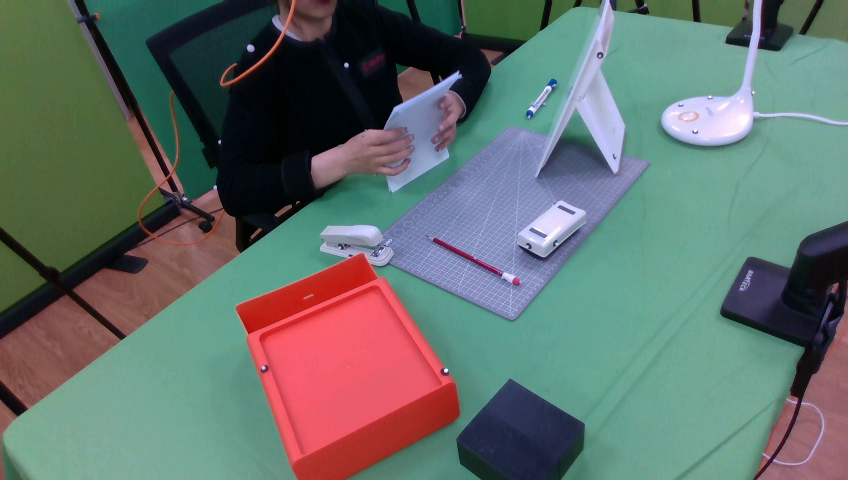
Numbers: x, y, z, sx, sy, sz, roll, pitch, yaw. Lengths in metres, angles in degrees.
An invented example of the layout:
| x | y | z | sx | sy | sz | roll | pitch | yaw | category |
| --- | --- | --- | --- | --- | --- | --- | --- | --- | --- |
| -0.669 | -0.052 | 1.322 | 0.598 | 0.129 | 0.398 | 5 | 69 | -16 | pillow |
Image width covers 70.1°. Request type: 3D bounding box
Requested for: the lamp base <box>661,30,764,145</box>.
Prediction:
| x | y | z | sx | sy | sz | roll | pitch | yaw | category |
| --- | --- | --- | --- | --- | --- | --- | --- | --- | --- |
| 0.535 | -0.287 | 1.096 | 0.179 | 0.181 | 0.159 | -10 | 40 | -4 | lamp base |

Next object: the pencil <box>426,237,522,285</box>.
| x | y | z | sx | sy | sz | roll | pitch | yaw | category |
| --- | --- | --- | --- | --- | --- | --- | --- | --- | --- |
| 0.072 | 0.029 | 0.941 | 0.192 | 0.012 | 0.012 | 26 | 52 | 37 | pencil |

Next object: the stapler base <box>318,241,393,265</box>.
| x | y | z | sx | sy | sz | roll | pitch | yaw | category |
| --- | --- | --- | --- | --- | --- | --- | --- | --- | --- |
| -0.114 | 0.009 | 0.988 | 0.130 | 0.024 | 0.041 | 12 | 44 | 26 | stapler base |

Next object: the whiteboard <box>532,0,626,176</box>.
| x | y | z | sx | sy | sz | roll | pitch | yaw | category |
| --- | --- | --- | --- | --- | --- | --- | --- | --- | --- |
| 0.321 | -0.258 | 1.049 | 0.144 | 0.306 | 0.217 | 21 | 45 | 5 | whiteboard |

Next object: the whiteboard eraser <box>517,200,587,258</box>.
| x | y | z | sx | sy | sz | roll | pitch | yaw | category |
| --- | --- | --- | --- | --- | --- | --- | --- | --- | --- |
| 0.200 | -0.016 | 0.943 | 0.113 | 0.042 | 0.055 | -37 | 46 | -29 | whiteboard eraser |

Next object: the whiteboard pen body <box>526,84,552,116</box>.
| x | y | z | sx | sy | sz | roll | pitch | yaw | category |
| --- | --- | --- | --- | --- | --- | --- | --- | --- | --- |
| 0.251 | -0.305 | 1.297 | 0.017 | 0.017 | 0.141 | 15 | 45 | 26 | whiteboard pen body |

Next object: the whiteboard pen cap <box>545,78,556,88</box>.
| x | y | z | sx | sy | sz | roll | pitch | yaw | category |
| --- | --- | --- | --- | --- | --- | --- | --- | --- | --- |
| 0.280 | -0.344 | 1.335 | 0.018 | 0.018 | 0.033 | 15 | 45 | 26 | whiteboard pen cap |

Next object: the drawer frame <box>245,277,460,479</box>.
| x | y | z | sx | sy | sz | roll | pitch | yaw | category |
| --- | --- | --- | --- | --- | --- | --- | --- | --- | --- |
| -0.093 | 0.167 | 0.755 | 0.202 | 0.083 | 0.211 | -23 | 43 | -17 | drawer frame |

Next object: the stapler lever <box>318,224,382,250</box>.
| x | y | z | sx | sy | sz | roll | pitch | yaw | category |
| --- | --- | --- | --- | --- | --- | --- | --- | --- | --- |
| -0.120 | -0.010 | 0.972 | 0.117 | 0.040 | 0.027 | 11 | 44 | 27 | stapler lever |

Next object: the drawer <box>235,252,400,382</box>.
| x | y | z | sx | sy | sz | roll | pitch | yaw | category |
| --- | --- | --- | --- | --- | --- | --- | --- | --- | --- |
| -0.125 | 0.132 | 0.804 | 0.195 | 0.073 | 0.210 | -23 | 42 | -17 | drawer |
